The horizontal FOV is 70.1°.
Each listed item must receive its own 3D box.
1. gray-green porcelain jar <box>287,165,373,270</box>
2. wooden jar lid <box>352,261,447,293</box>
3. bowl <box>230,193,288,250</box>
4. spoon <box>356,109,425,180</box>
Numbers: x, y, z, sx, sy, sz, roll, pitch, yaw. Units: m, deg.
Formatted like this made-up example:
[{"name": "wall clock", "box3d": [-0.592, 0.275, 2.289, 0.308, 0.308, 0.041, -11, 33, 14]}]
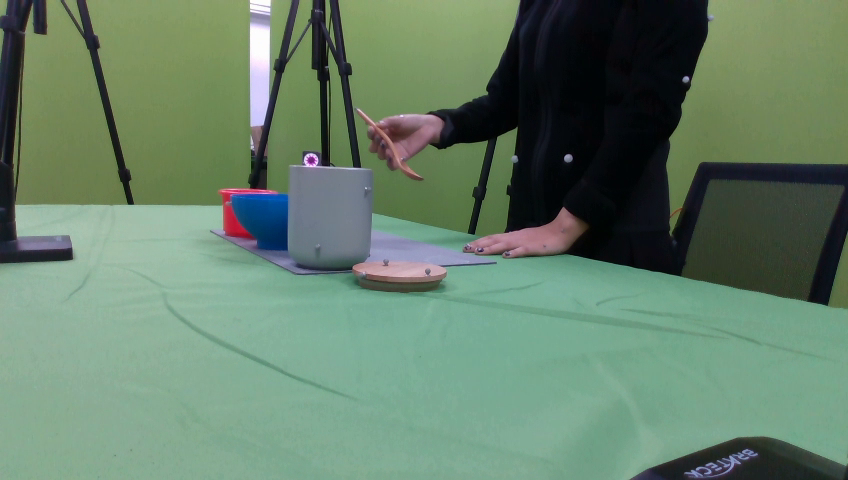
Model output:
[{"name": "gray-green porcelain jar", "box3d": [-0.119, -0.029, 0.767, 0.106, 0.126, 0.106, 2, 7, 0]}, {"name": "wooden jar lid", "box3d": [-0.028, 0.042, 0.687, 0.108, 0.020, 0.108, 3, 8, 0]}, {"name": "bowl", "box3d": [-0.214, -0.028, 0.912, 0.151, 0.077, 0.151, 2, 8, 0]}, {"name": "spoon", "box3d": [-0.062, -0.170, 1.065, 0.193, 0.021, 0.042, 53, 21, 21]}]
